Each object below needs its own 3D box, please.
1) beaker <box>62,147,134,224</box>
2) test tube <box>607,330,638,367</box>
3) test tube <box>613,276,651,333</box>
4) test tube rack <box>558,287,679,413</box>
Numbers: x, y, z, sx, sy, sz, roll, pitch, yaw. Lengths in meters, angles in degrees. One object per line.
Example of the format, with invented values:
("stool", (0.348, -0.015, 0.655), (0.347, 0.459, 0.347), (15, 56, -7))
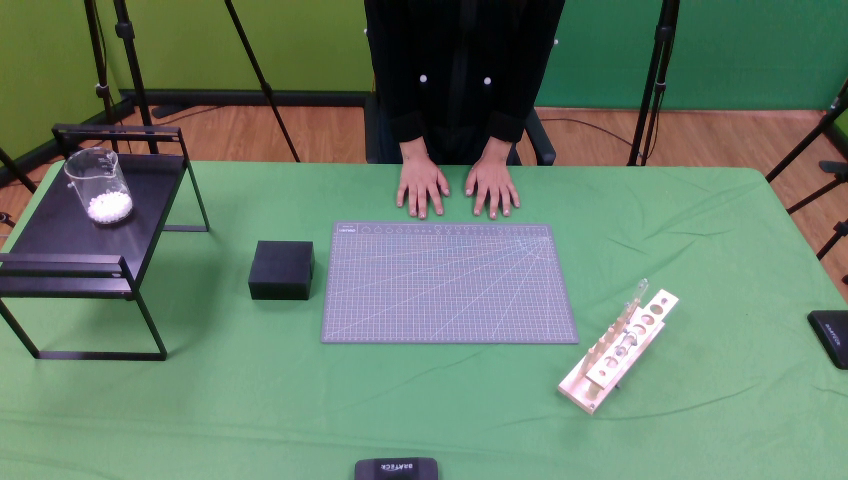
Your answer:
("beaker", (-0.495, -0.080, 0.934), (0.084, 0.101, 0.074), (23, 49, 16))
("test tube", (0.292, 0.184, 0.925), (0.017, 0.151, 0.017), (4, 49, -4))
("test tube", (0.344, 0.109, 1.007), (0.017, 0.151, 0.017), (3, 49, -3))
("test tube rack", (0.326, 0.170, 1.009), (0.066, 0.085, 0.242), (36, 54, 27))
